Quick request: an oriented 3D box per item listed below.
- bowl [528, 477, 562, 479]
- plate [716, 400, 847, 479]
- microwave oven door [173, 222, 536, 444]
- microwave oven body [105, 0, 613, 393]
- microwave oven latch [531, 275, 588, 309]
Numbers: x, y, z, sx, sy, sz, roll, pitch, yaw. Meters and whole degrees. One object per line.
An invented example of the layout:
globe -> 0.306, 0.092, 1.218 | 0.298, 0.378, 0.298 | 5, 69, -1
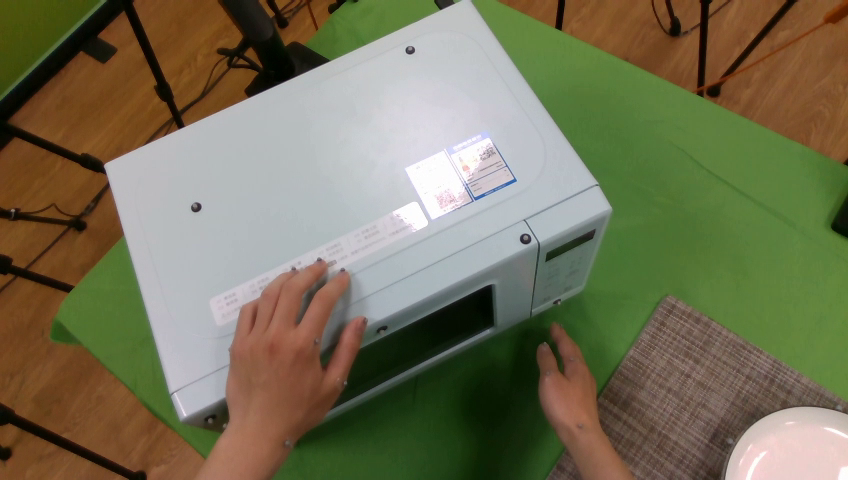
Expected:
bowl -> 0.131, 0.333, 0.643 | 0.151, 0.077, 0.150 | -3, 67, 7
plate -> 0.419, 0.279, 0.648 | 0.207, 0.039, 0.206 | -2, 67, 6
microwave oven door -> -0.046, 0.112, 0.650 | 0.356, 0.246, 0.039 | -26, 65, -4
microwave oven body -> -0.070, -0.022, 0.715 | 0.442, 0.262, 0.323 | -26, 67, -4
microwave oven latch -> 0.164, 0.057, 0.758 | 0.079, 0.030, 0.030 | -24, 67, -3
